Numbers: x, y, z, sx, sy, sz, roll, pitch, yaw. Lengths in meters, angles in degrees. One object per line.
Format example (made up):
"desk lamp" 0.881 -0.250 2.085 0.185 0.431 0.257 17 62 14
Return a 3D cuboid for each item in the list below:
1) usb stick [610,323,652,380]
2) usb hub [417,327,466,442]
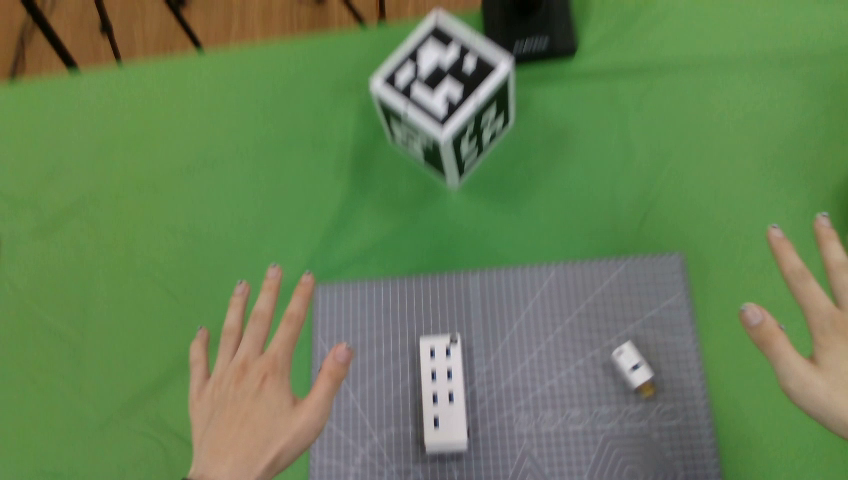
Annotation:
"usb stick" 0.225 0.122 0.669 0.021 0.027 0.058 -11 66 -23
"usb hub" 0.020 0.163 0.688 0.049 0.025 0.124 -5 70 6
